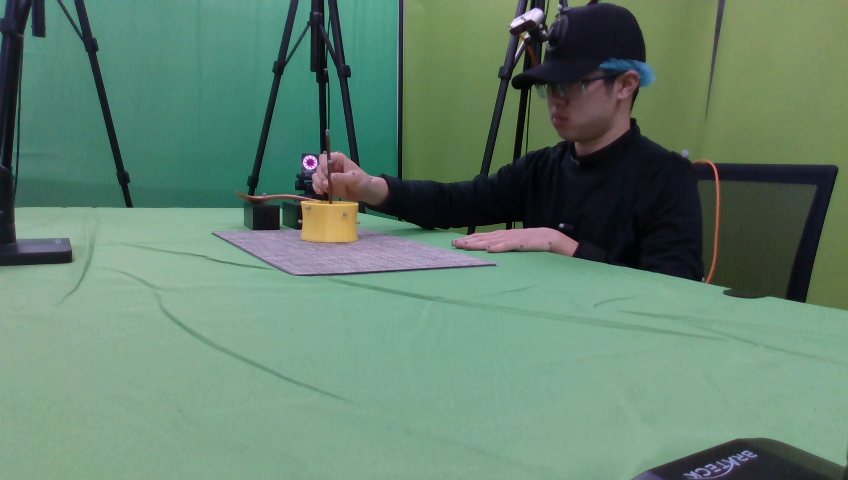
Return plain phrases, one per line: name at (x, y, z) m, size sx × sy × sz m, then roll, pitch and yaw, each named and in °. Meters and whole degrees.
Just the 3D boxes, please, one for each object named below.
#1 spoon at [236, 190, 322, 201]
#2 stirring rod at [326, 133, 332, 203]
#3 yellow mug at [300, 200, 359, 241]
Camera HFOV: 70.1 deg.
spoon at (-0.290, -0.088, 1.248) m, size 0.195 × 0.021 × 0.041 m, roll 0°, pitch 6°, yaw -32°
stirring rod at (-0.163, -0.097, 1.045) m, size 0.006 × 0.176 × 0.014 m, roll 0°, pitch 11°, yaw 0°
yellow mug at (-0.156, -0.036, 1.060) m, size 0.099 × 0.064 × 0.131 m, roll 5°, pitch 7°, yaw 27°
